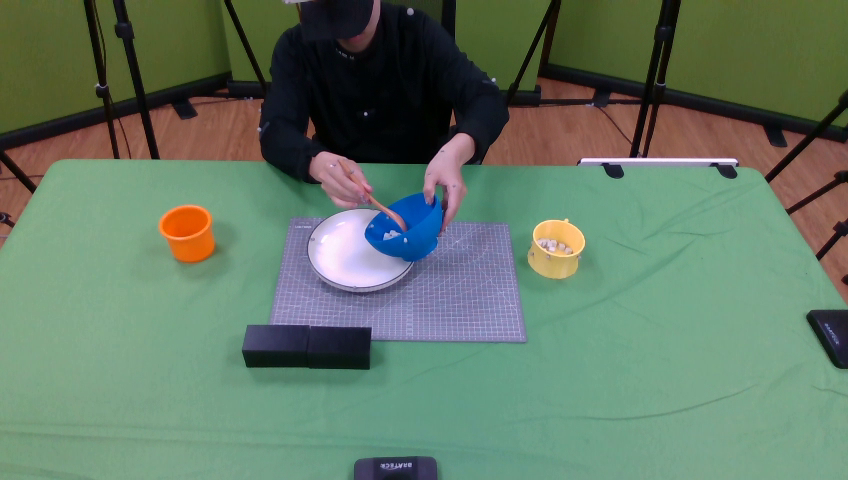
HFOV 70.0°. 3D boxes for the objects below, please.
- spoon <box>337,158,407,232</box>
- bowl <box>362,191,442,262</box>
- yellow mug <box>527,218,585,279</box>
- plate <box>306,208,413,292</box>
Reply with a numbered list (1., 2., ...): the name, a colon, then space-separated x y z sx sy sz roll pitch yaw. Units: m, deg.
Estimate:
1. spoon: -0.090 -0.073 1.079 0.021 0.194 0.041 -41 24 10
2. bowl: -0.026 -0.013 1.091 0.151 0.077 0.150 -23 27 13
3. yellow mug: 0.261 0.006 1.181 0.100 0.064 0.130 18 47 14
4. plate: -0.119 0.021 1.153 0.209 0.038 0.208 2 46 -2
